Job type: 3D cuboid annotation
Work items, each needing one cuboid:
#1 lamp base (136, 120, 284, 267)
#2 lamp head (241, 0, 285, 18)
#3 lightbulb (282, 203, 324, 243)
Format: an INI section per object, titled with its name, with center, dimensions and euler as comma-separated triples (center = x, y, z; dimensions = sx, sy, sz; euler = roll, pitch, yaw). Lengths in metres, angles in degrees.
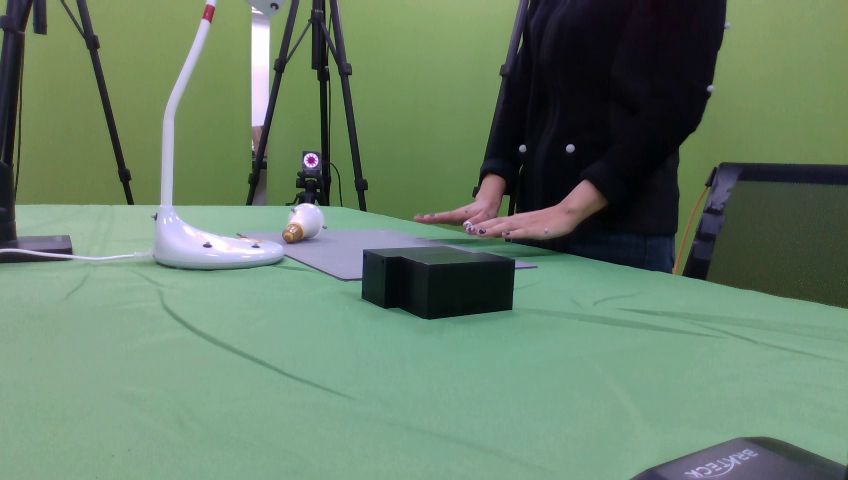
[lamp base]
center = -0.272, -0.061, 0.769
dimensions = 0.180, 0.180, 0.160
euler = -7, 11, -37
[lamp head]
center = -0.233, -0.366, 0.790
dimensions = 0.123, 0.112, 0.112
euler = 15, -1, -33
[lightbulb]
center = -0.202, -0.023, 0.993
dimensions = 0.059, 0.059, 0.108
euler = 3, 23, 12
